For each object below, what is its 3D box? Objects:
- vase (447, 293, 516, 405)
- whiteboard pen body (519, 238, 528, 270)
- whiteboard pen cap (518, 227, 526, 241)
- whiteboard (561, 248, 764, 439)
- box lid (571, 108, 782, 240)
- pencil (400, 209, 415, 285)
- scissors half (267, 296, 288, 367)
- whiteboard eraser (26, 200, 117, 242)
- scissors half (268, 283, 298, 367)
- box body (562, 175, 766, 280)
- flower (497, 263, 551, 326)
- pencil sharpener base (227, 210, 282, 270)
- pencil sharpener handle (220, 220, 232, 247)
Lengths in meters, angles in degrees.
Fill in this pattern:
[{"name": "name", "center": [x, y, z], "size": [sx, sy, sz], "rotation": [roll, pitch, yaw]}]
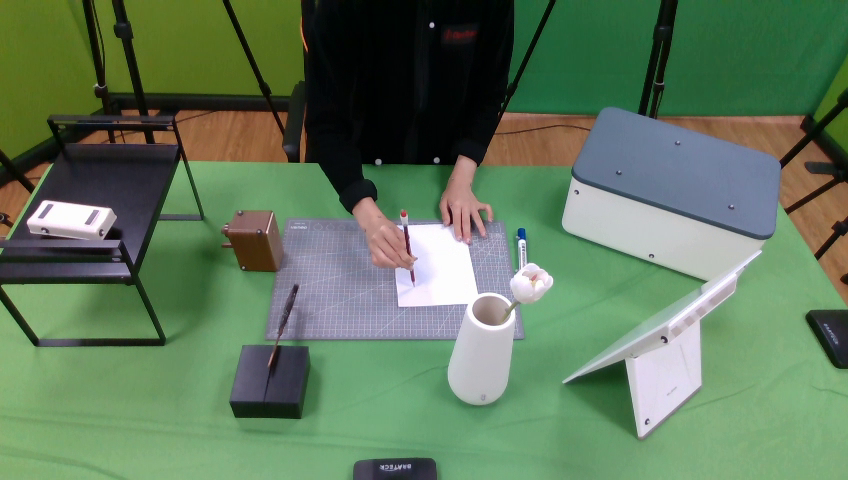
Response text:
[{"name": "vase", "center": [0.091, 0.169, 0.921], "size": [0.098, 0.201, 0.097], "rotation": [3, 47, -3]}, {"name": "whiteboard pen body", "center": [0.193, 0.035, 1.181], "size": [0.017, 0.017, 0.140], "rotation": [6, 48, 1]}, {"name": "whiteboard pen cap", "center": [0.197, -0.009, 1.220], "size": [0.018, 0.018, 0.033], "rotation": [5, 50, 1]}, {"name": "whiteboard", "center": [0.386, 0.176, 0.905], "size": [0.217, 0.306, 0.143], "rotation": [-26, 72, -27]}, {"name": "box lid", "center": [0.491, -0.139, 1.168], "size": [0.370, 0.015, 0.262], "rotation": [21, 49, 15]}, {"name": "pencil", "center": [-0.027, 0.018, 1.053], "size": [0.012, 0.195, 0.012], "rotation": [-3, 47, 3]}, {"name": "scissors half", "center": [-0.239, 0.150, 0.997], "size": [0.013, 0.040, 0.174], "rotation": [24, 24, -13]}, {"name": "whiteboard eraser", "center": [-0.532, -0.026, 0.919], "size": [0.113, 0.042, 0.055], "rotation": [7, 45, 3]}, {"name": "scissors half", "center": [-0.230, 0.135, 0.986], "size": [0.013, 0.040, 0.174], "rotation": [19, 43, -11]}, {"name": "box body", "center": [0.486, -0.088, 1.222], "size": [0.363, 0.161, 0.253], "rotation": [20, 48, 15]}, {"name": "flower", "center": [0.102, 0.121, 0.853], "size": [0.044, 0.363, 0.038], "rotation": [-2, 64, -10]}, {"name": "pencil sharpener base", "center": [-0.311, 0.001, 1.112], "size": [0.077, 0.107, 0.061], "rotation": [0, 47, 1]}, {"name": "pencil sharpener handle", "center": [-0.362, -0.009, 1.105], "size": [0.030, 0.068, 0.036], "rotation": [1, 53, 1]}]
